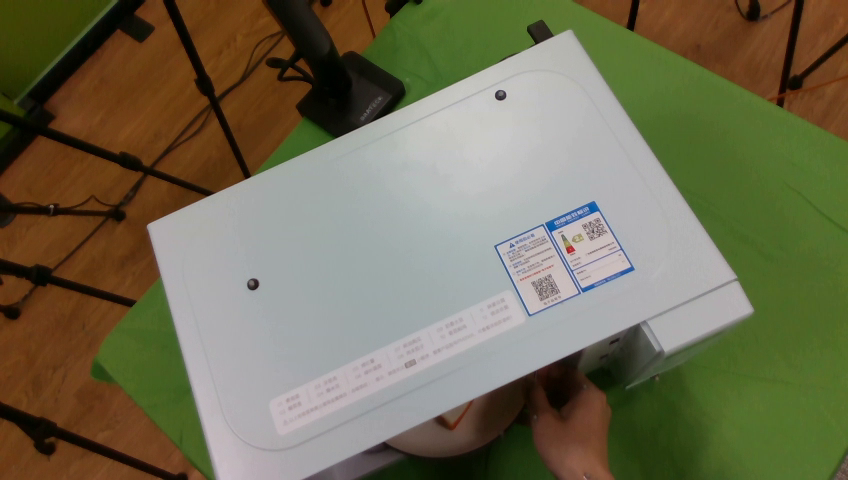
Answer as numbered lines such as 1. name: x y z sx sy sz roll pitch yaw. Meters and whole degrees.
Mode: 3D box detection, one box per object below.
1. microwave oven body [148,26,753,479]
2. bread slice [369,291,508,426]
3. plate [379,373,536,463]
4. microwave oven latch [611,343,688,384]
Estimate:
1. microwave oven body: 0.013 0.047 0.627 0.442 0.262 0.323 -25 69 0
2. bread slice: 0.007 0.116 0.636 0.131 0.019 0.104 29 77 14
3. plate: 0.012 0.122 0.631 0.207 0.039 0.206 -1 73 4
4. microwave oven latch: 0.247 0.129 0.663 0.079 0.030 0.030 -23 69 1
